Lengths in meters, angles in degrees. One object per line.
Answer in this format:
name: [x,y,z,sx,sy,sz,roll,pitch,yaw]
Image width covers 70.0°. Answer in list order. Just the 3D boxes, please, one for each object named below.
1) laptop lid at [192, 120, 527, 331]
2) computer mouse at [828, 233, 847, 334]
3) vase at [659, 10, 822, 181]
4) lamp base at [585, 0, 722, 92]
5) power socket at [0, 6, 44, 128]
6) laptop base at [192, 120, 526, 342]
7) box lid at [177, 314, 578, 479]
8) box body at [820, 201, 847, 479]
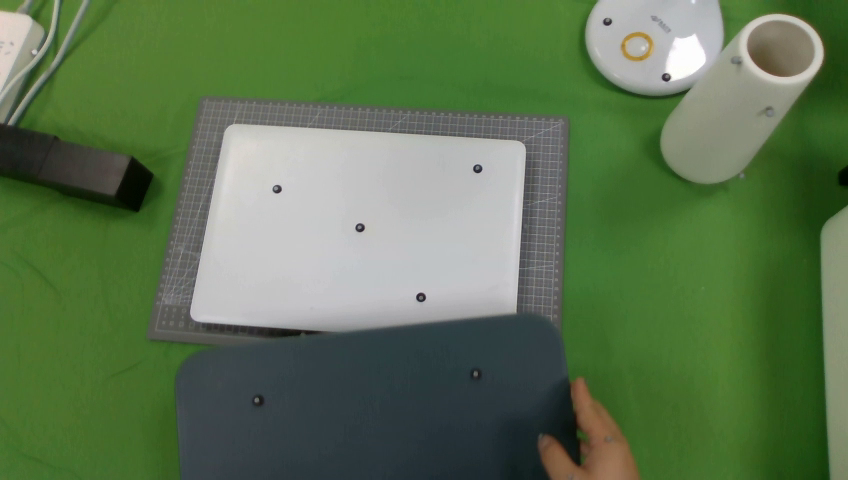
laptop lid: [-0.070,-0.017,0.668,0.356,0.013,0.240,6,77,5]
computer mouse: [0.457,0.044,0.613,0.063,0.041,0.116,1,65,7]
vase: [0.304,-0.136,0.598,0.098,0.201,0.097,-1,72,5]
lamp base: [0.275,-0.281,0.652,0.160,0.181,0.179,38,77,13]
power socket: [-0.548,-0.194,0.753,0.072,0.033,0.225,12,74,6]
laptop base: [-0.069,-0.016,0.680,0.354,0.023,0.234,4,77,5]
box lid: [-0.046,0.214,0.564,0.371,0.015,0.262,-6,83,2]
box body: [0.515,0.125,0.529,0.254,0.161,0.362,6,74,6]
